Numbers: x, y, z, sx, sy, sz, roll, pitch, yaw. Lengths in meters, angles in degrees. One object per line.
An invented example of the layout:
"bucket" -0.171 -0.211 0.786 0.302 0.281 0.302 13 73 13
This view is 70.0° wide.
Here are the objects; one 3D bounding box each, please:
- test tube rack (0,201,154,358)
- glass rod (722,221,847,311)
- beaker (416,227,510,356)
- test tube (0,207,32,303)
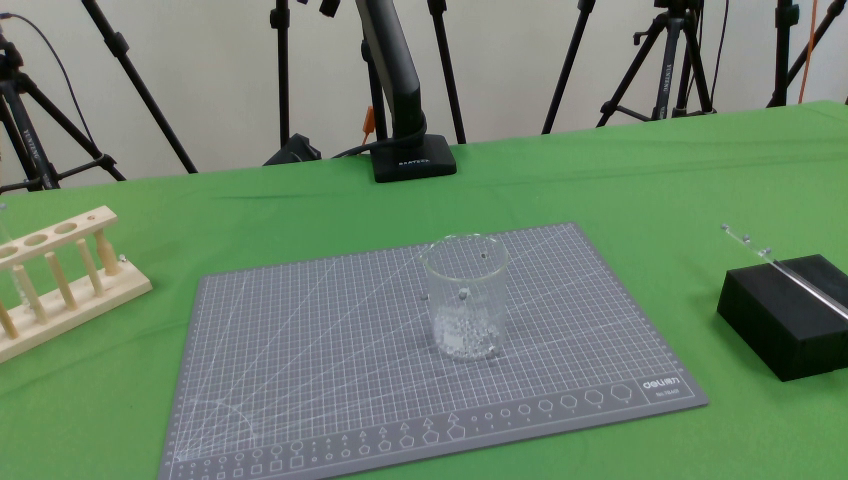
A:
"test tube rack" -0.413 0.054 0.606 0.242 0.086 0.066 -31 43 -34
"glass rod" 0.344 0.032 0.552 0.008 0.008 0.197 -14 35 -14
"beaker" 0.037 0.050 0.557 0.084 0.101 0.073 4 35 13
"test tube" -0.416 -0.003 0.600 0.017 0.151 0.017 -4 27 3
